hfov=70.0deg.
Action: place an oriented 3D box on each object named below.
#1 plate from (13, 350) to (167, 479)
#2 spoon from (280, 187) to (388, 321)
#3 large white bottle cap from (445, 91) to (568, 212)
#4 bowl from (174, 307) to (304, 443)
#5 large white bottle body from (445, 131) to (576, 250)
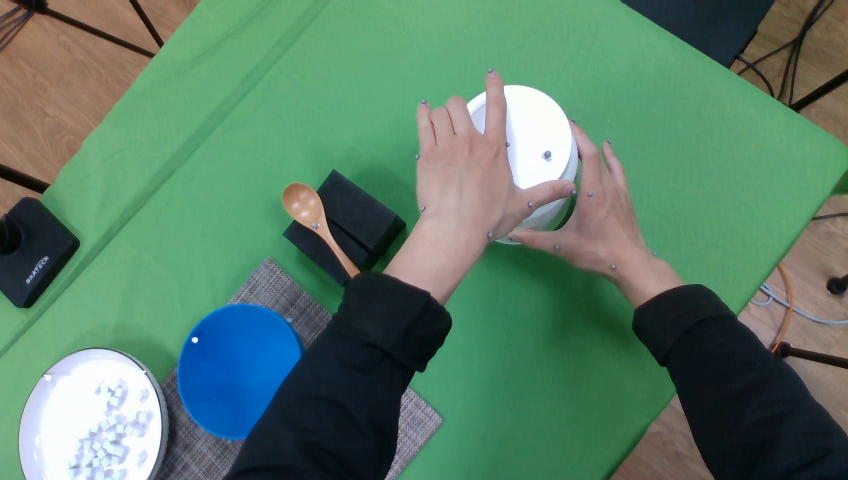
[{"bbox_3d":[-0.411,0.243,0.757,0.209,0.038,0.208,-3,78,12],"label":"plate"},{"bbox_3d":[-0.104,0.018,0.706,0.041,0.022,0.193,-37,81,-3],"label":"spoon"},{"bbox_3d":[0.077,-0.084,0.566,0.114,0.018,0.114,-2,79,10],"label":"large white bottle cap"},{"bbox_3d":[-0.204,0.156,0.714,0.151,0.077,0.151,-2,80,10],"label":"bowl"},{"bbox_3d":[0.093,-0.067,0.648,0.130,0.185,0.130,-2,79,10],"label":"large white bottle body"}]
